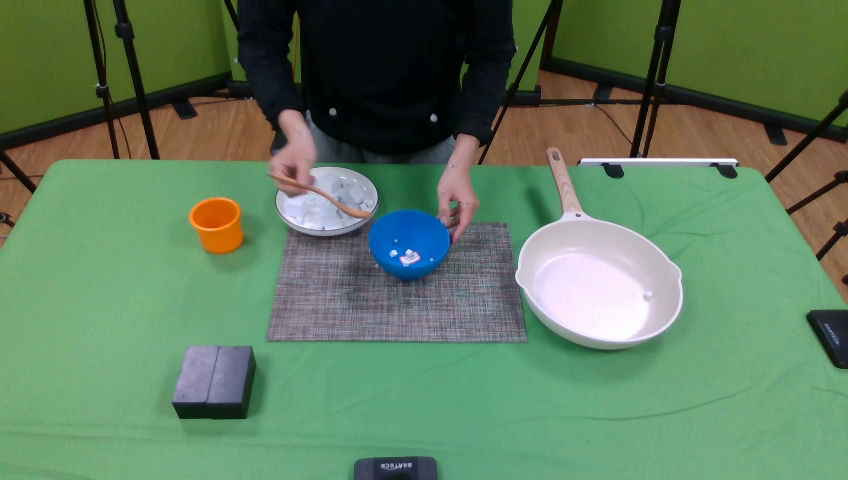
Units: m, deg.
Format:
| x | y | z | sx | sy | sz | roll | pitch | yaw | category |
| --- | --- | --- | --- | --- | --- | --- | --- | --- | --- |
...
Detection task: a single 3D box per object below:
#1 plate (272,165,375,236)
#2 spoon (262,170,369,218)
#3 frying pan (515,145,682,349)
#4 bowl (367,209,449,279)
| x | y | z | sx | sy | sz | roll | pitch | yaw | category |
| --- | --- | --- | --- | --- | --- | --- | --- | --- | --- |
| -0.204 | -0.076 | 1.240 | 0.208 | 0.039 | 0.206 | 3 | 44 | -2 | plate |
| -0.179 | -0.078 | 1.016 | 0.195 | 0.021 | 0.041 | 27 | 9 | -27 | spoon |
| 0.303 | -0.004 | 1.168 | 0.307 | 0.103 | 0.484 | -2 | 55 | -7 | frying pan |
| -0.031 | 0.020 | 1.132 | 0.151 | 0.077 | 0.150 | 2 | 46 | -2 | bowl |
